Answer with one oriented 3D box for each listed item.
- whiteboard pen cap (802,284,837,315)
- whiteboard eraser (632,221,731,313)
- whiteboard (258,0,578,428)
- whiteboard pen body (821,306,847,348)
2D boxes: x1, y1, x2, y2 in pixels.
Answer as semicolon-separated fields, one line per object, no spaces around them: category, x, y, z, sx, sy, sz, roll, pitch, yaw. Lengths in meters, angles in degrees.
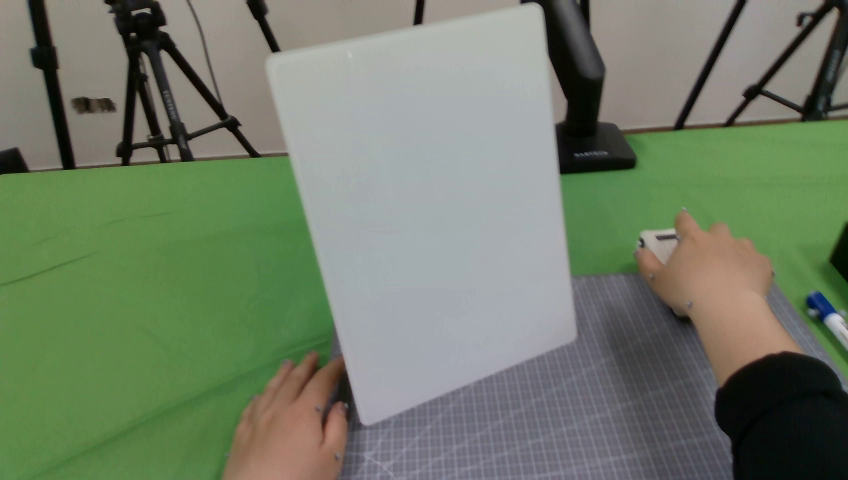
whiteboard pen cap;0.380;0.058;0.580;0.018;0.018;0.033;-6;37;-2
whiteboard eraser;0.255;0.026;0.609;0.055;0.042;0.111;-6;38;-2
whiteboard;-0.007;-0.033;0.544;0.217;0.307;0.142;-18;21;-17
whiteboard pen body;0.384;0.095;0.535;0.017;0.017;0.139;-5;37;-1
